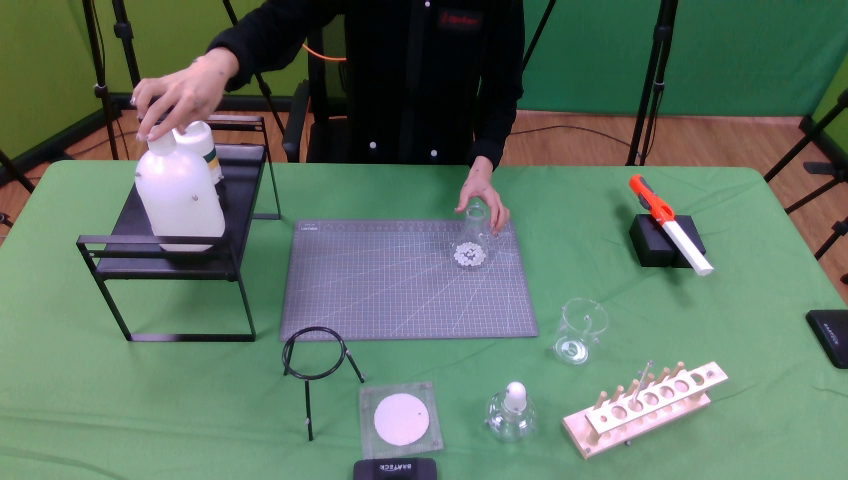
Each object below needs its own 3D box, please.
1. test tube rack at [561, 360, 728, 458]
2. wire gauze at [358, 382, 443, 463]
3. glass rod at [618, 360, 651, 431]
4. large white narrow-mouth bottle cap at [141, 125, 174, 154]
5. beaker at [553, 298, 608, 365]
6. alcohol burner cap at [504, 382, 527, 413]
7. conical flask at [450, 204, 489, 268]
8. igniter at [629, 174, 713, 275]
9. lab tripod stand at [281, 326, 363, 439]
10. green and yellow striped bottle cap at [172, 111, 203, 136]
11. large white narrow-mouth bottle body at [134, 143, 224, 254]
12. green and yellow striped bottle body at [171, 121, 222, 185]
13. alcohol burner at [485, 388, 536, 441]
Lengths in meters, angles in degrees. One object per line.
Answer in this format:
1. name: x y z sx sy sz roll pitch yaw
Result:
1. test tube rack: 0.341 0.248 0.940 0.243 0.085 0.066 -15 49 -18
2. wire gauze: -0.039 0.277 0.937 0.121 0.011 0.124 -4 47 -7
3. glass rod: 0.298 0.227 0.865 0.008 0.201 0.008 -1 47 2
4. large white narrow-mouth bottle cap: -0.356 -0.134 0.810 0.038 0.024 0.037 2 48 -2
5. beaker: 0.260 0.154 1.015 0.073 0.101 0.084 37 54 27
6. alcohol burner cap: 0.133 0.225 0.877 0.034 0.048 0.033 -4 47 5
7. conical flask: 0.091 -0.010 1.141 0.075 0.122 0.075 2 46 -2
8. igniter: 0.481 -0.040 1.202 0.057 0.025 0.274 -2 46 -21
9. lab tripod stand: -0.166 0.203 0.913 0.148 0.132 0.147 1 47 -1
10. green and yellow striped bottle cap: -0.374 -0.185 0.958 0.045 0.020 0.045 4 46 -4
11. large white narrow-mouth bottle body: -0.358 -0.075 0.875 0.102 0.195 0.101 1 48 -1
12. green and yellow striped bottle body: -0.375 -0.149 0.995 0.063 0.120 0.063 2 46 -2
13. alcohol burner: 0.131 0.249 0.904 0.078 0.120 0.077 1 48 -1
